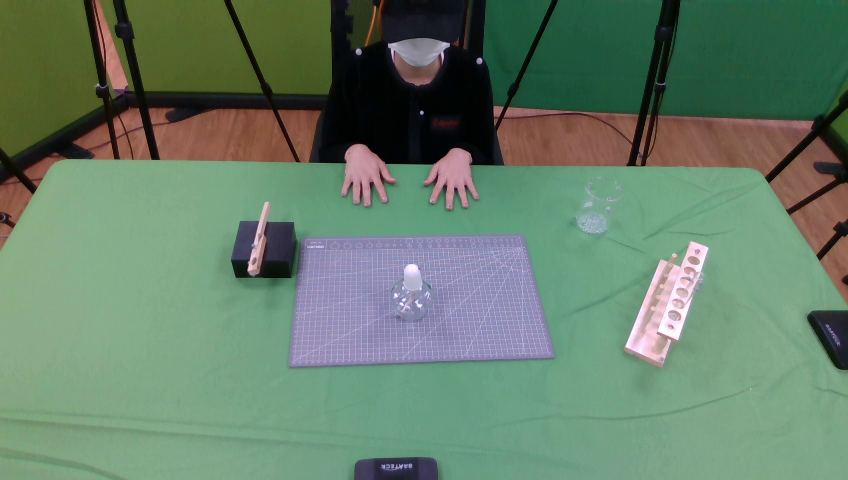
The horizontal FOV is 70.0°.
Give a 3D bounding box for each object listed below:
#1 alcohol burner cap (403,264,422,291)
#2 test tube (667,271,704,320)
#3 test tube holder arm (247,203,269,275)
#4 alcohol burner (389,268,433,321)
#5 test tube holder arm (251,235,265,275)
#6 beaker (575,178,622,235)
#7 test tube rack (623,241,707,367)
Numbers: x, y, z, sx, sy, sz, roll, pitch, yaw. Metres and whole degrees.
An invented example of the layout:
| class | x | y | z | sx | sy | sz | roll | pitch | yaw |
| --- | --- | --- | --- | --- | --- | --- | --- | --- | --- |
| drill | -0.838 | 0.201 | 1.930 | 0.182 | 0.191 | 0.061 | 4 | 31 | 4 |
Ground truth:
| class | x | y | z | sx | sy | sz | roll | pitch | yaw |
| --- | --- | --- | --- | --- | --- | --- | --- | --- | --- |
| alcohol burner cap | -0.021 | 0.060 | 1.021 | 0.034 | 0.048 | 0.033 | -2 | 46 | 2 |
| test tube | 0.432 | 0.104 | 1.019 | 0.017 | 0.151 | 0.017 | 3 | 48 | -3 |
| test tube holder arm | -0.304 | -0.006 | 1.116 | 0.013 | 0.015 | 0.177 | -6 | 45 | 2 |
| alcohol burner | -0.022 | 0.085 | 1.046 | 0.078 | 0.119 | 0.077 | 2 | 48 | -2 |
| test tube holder arm | -0.297 | 0.025 | 1.085 | 0.010 | 0.015 | 0.087 | -5 | 45 | 2 |
| beaker | 0.356 | -0.068 | 1.240 | 0.084 | 0.101 | 0.073 | -18 | 50 | -21 |
| test tube rack | 0.435 | 0.104 | 1.089 | 0.066 | 0.085 | 0.242 | 24 | 49 | 19 |
